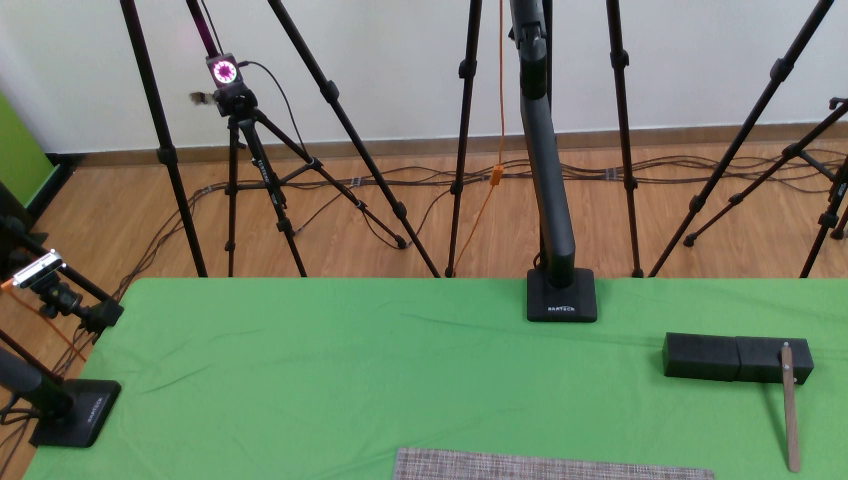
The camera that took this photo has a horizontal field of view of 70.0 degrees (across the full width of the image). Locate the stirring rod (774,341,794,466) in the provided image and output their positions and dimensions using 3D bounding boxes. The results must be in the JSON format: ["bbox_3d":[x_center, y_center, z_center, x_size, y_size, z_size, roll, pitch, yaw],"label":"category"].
[{"bbox_3d":[0.515,0.231,0.866,0.014,0.006,0.175,4,68,9],"label":"stirring rod"}]
